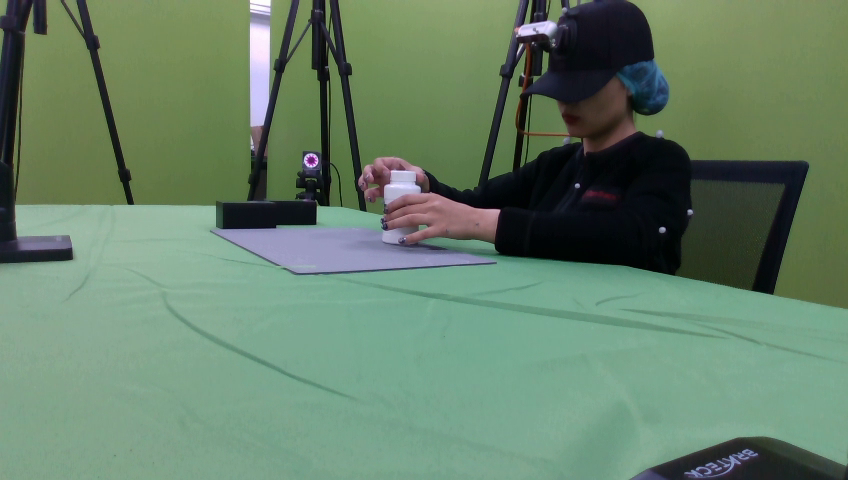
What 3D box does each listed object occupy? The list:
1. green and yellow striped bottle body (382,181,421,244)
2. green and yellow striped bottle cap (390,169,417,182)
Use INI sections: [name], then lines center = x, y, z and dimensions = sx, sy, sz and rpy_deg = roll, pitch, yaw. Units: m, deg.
[green and yellow striped bottle body]
center = -0.038, -0.055, 1.019
dimensions = 0.063, 0.119, 0.063
rpy_deg = 3, 8, 0
[green and yellow striped bottle cap]
center = -0.035, -0.108, 1.013
dimensions = 0.045, 0.020, 0.045
rpy_deg = 1, 9, 0
